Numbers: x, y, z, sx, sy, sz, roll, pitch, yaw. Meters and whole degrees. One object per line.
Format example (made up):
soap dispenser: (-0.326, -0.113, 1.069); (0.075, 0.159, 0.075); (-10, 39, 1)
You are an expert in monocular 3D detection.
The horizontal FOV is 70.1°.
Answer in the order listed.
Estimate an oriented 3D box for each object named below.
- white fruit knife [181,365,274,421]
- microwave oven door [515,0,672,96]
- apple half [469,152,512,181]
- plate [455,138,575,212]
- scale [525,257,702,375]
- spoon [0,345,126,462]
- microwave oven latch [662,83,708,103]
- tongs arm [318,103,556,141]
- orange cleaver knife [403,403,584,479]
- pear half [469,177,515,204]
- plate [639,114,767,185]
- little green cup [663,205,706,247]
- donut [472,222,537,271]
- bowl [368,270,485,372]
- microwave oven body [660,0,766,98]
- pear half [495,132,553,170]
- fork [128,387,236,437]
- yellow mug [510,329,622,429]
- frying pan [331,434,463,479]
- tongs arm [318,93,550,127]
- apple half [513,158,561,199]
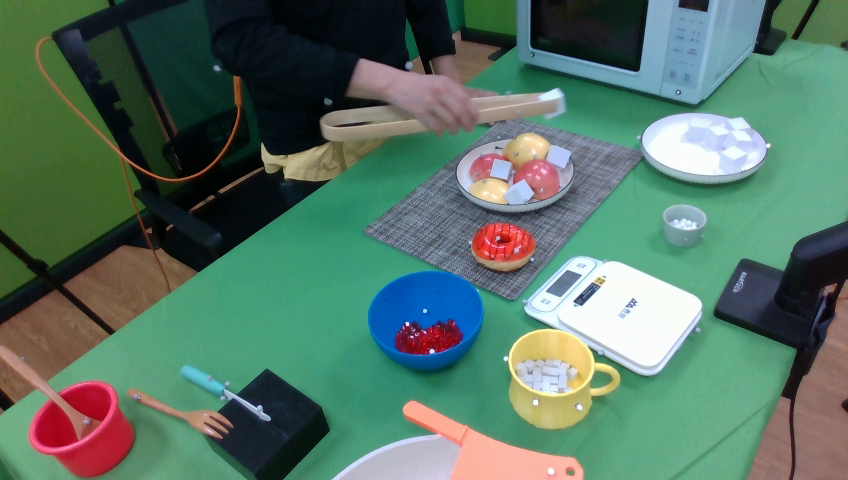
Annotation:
white fruit knife: (-0.245, 0.188, 0.747); (0.205, 0.027, 0.016); (9, 42, 41)
microwave oven door: (0.343, -0.454, 1.259); (0.353, 0.245, 0.039); (26, 51, 33)
apple half: (0.120, -0.139, 1.088); (0.081, 0.033, 0.081); (0, 44, 1)
plate: (0.159, -0.111, 1.063); (0.209, 0.038, 0.208); (-4, 40, 4)
scale: (0.254, 0.091, 0.821); (0.199, 0.032, 0.149); (28, 51, 35)
spoon: (-0.434, 0.192, 0.720); (0.194, 0.021, 0.042); (47, 53, -7)
microwave oven latch: (0.518, -0.296, 1.204); (0.078, 0.029, 0.030); (28, 52, 35)
tongs arm: (0.024, -0.193, 0.979); (0.388, 0.028, 0.028); (-7, 46, -4)
orange cleaver knife: (0.062, 0.223, 0.610); (0.210, 0.012, 0.077); (15, 47, 25)
pear half: (0.115, -0.090, 1.035); (0.087, 0.031, 0.071); (29, 39, 32)
plate: (0.489, -0.157, 1.074); (0.207, 0.039, 0.206); (-4, 40, 4)
little green cup: (0.396, -0.020, 0.926); (0.061, 0.039, 0.061); (-4, 40, 4)
donut: (0.123, 0.009, 0.923); (0.099, 0.048, 0.098); (-3, 38, 3)
bowl: (0.007, 0.119, 0.791); (0.151, 0.077, 0.150); (-5, 39, 4)
microwave oven body: (0.472, -0.513, 1.317); (0.438, 0.261, 0.327); (26, 51, 34)
pear half: (0.174, -0.168, 1.094); (0.109, 0.056, 0.076); (15, 53, 30)
fork: (-0.305, 0.207, 0.744); (0.206, 0.019, 0.028); (3, 41, 36)
yellow mug: (0.168, 0.164, 0.721); (0.130, 0.064, 0.099); (0, 40, 8)
frying pan: (-0.089, 0.306, 0.564); (0.487, 0.103, 0.306); (10, 41, 7)
tongs arm: (0.021, -0.208, 0.996); (0.385, 0.026, 0.050); (-4, 43, -1)
apple half: (0.193, -0.111, 1.031); (0.080, 0.053, 0.075); (11, 41, 26)
